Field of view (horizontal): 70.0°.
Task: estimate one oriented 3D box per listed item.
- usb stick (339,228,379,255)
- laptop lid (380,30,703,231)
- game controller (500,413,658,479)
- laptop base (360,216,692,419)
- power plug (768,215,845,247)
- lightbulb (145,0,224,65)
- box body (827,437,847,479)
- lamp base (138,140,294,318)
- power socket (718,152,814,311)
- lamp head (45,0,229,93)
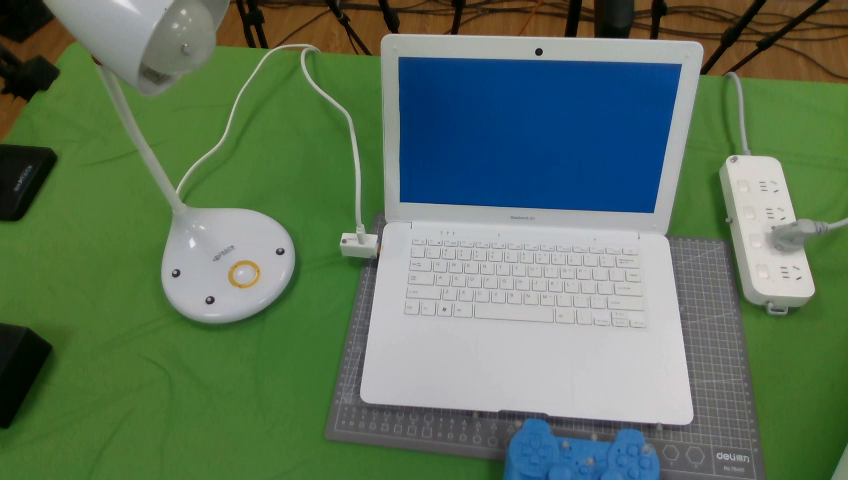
[{"bbox_3d":[-0.073,0.003,0.746,0.059,0.027,0.021,7,52,3],"label":"usb stick"},{"bbox_3d":[0.124,-0.121,0.711,0.356,0.243,0.013,1,27,4],"label":"laptop lid"},{"bbox_3d":[0.153,0.224,0.595,0.155,0.052,0.096,5,56,5],"label":"game controller"},{"bbox_3d":[0.114,0.082,0.703,0.354,0.023,0.233,3,61,4],"label":"laptop base"},{"bbox_3d":[0.443,-0.003,0.709,0.072,0.053,0.035,14,59,9],"label":"power plug"},{"bbox_3d":[-0.185,-0.175,0.424,0.059,0.059,0.108,-32,101,-17],"label":"lightbulb"},{"bbox_3d":[0.568,0.173,0.542,0.252,0.162,0.363,35,65,22],"label":"box body"},{"bbox_3d":[-0.255,-0.024,0.689,0.178,0.182,0.160,29,63,22],"label":"lamp base"},{"bbox_3d":[0.417,-0.020,0.748,0.072,0.033,0.225,4,58,4],"label":"power socket"},{"bbox_3d":[-0.216,-0.181,0.428,0.123,0.112,0.112,33,62,-5],"label":"lamp head"}]
